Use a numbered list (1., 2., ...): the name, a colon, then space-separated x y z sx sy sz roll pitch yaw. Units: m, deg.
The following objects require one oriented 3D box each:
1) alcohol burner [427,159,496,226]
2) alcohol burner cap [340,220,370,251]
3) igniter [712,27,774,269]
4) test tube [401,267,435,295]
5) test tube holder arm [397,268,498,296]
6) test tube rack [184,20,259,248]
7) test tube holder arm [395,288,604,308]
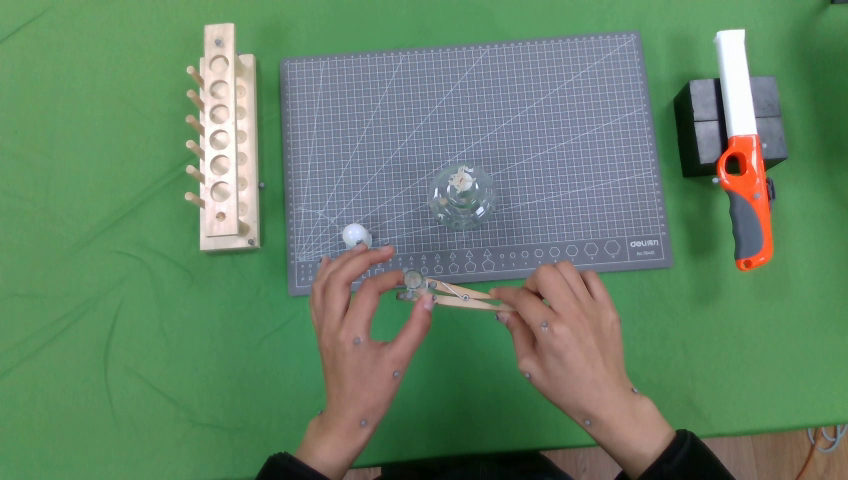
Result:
1. alcohol burner: 0.041 -0.056 0.667 0.078 0.119 0.077 0 81 2
2. alcohol burner cap: -0.080 -0.008 0.696 0.034 0.048 0.033 0 79 1
3. igniter: 0.350 -0.105 0.671 0.057 0.025 0.275 -2 79 7
4. test tube: -0.003 0.039 0.517 0.017 0.151 0.017 -1 80 5
5. test tube holder arm: 0.020 0.040 0.525 0.088 0.015 0.010 14 74 4
6. test tube rack: -0.238 -0.119 0.699 0.067 0.085 0.241 -4 80 1
7. test tube holder arm: 0.064 0.050 0.522 0.178 0.015 0.013 4 74 1
